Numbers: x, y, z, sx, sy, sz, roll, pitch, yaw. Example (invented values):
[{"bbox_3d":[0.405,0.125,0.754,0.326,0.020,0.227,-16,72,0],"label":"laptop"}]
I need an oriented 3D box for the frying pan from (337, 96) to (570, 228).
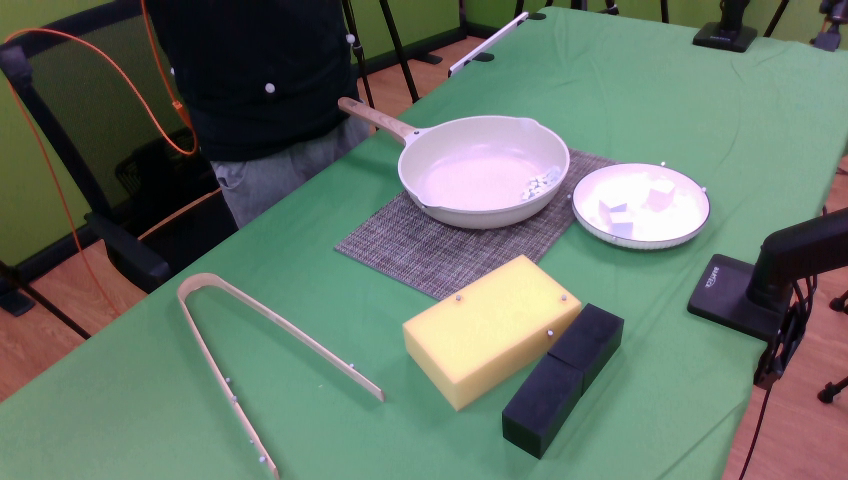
[{"bbox_3d":[0.023,-0.167,1.090,0.484,0.103,0.308,32,52,26],"label":"frying pan"}]

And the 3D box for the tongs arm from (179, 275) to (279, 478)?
[{"bbox_3d":[-0.260,0.162,0.807,0.051,0.026,0.381,-29,44,-25],"label":"tongs arm"}]

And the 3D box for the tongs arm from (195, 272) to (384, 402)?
[{"bbox_3d":[-0.199,0.125,0.847,0.384,0.028,0.028,25,52,32],"label":"tongs arm"}]

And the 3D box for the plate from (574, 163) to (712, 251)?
[{"bbox_3d":[0.344,-0.050,0.966,0.207,0.039,0.206,-4,40,4],"label":"plate"}]

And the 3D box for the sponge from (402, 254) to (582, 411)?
[{"bbox_3d":[0.089,0.114,0.791,0.208,0.061,0.117,-28,47,-23],"label":"sponge"}]
